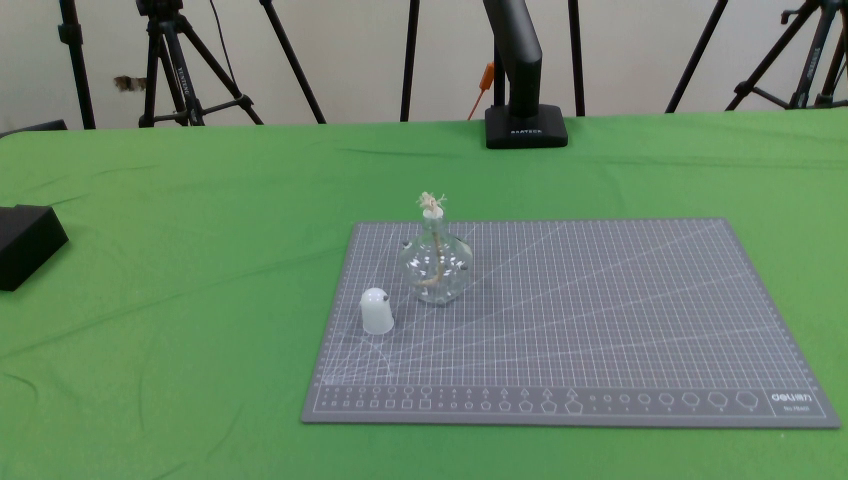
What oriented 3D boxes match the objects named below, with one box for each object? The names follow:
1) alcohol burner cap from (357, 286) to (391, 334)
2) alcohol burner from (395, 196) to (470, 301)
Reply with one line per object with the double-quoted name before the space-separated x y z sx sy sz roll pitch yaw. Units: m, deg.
"alcohol burner cap" -0.051 0.066 0.601 0.034 0.048 0.033 -2 38 2
"alcohol burner" 0.008 0.004 0.618 0.078 0.120 0.077 -1 39 1
